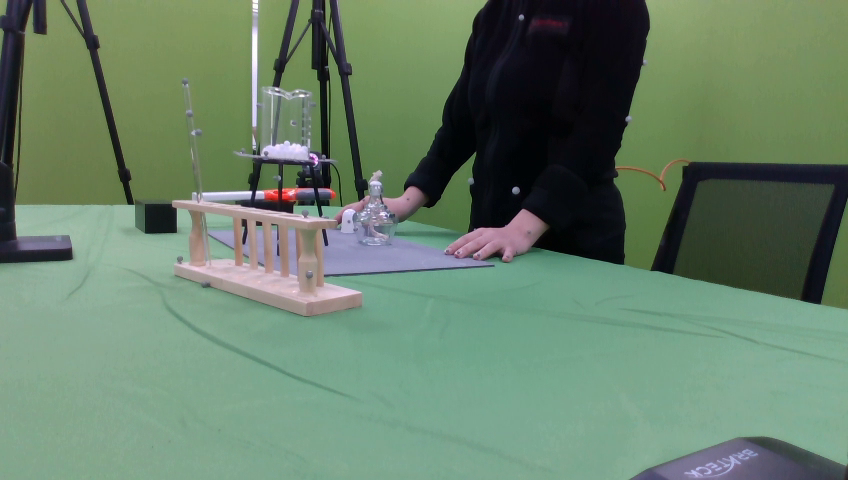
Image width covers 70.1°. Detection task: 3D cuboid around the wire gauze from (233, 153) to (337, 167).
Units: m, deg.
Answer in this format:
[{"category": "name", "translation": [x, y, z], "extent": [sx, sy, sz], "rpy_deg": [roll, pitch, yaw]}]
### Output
[{"category": "wire gauze", "translation": [-0.205, -0.119, 0.887], "extent": [0.122, 0.011, 0.124], "rpy_deg": [2, 4, -32]}]

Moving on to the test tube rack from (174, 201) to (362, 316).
[{"category": "test tube rack", "translation": [-0.169, 0.009, 0.622], "extent": [0.241, 0.085, 0.067], "rpy_deg": [9, 9, 41]}]

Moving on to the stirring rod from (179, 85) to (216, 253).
[{"category": "stirring rod", "translation": [-0.237, -0.073, 0.634], "extent": [0.006, 0.176, 0.014], "rpy_deg": [1, 10, 42]}]

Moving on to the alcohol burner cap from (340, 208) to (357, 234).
[{"category": "alcohol burner cap", "translation": [-0.142, -0.036, 1.136], "extent": [0.034, 0.048, 0.034], "rpy_deg": [2, 7, 0]}]

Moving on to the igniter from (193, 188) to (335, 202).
[{"category": "igniter", "translation": [-0.312, -0.089, 1.209], "extent": [0.278, 0.025, 0.057], "rpy_deg": [-5, 13, -31]}]

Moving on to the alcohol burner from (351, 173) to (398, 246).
[{"category": "alcohol burner", "translation": [-0.081, -0.051, 0.995], "extent": [0.078, 0.119, 0.078], "rpy_deg": [1, 6, 0]}]

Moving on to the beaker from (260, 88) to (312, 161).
[{"category": "beaker", "translation": [-0.200, -0.166, 0.876], "extent": [0.074, 0.100, 0.083], "rpy_deg": [1, 7, -18]}]

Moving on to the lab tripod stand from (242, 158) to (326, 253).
[{"category": "lab tripod stand", "translation": [-0.207, -0.054, 0.895], "extent": [0.148, 0.131, 0.148], "rpy_deg": [3, 5, 0]}]
